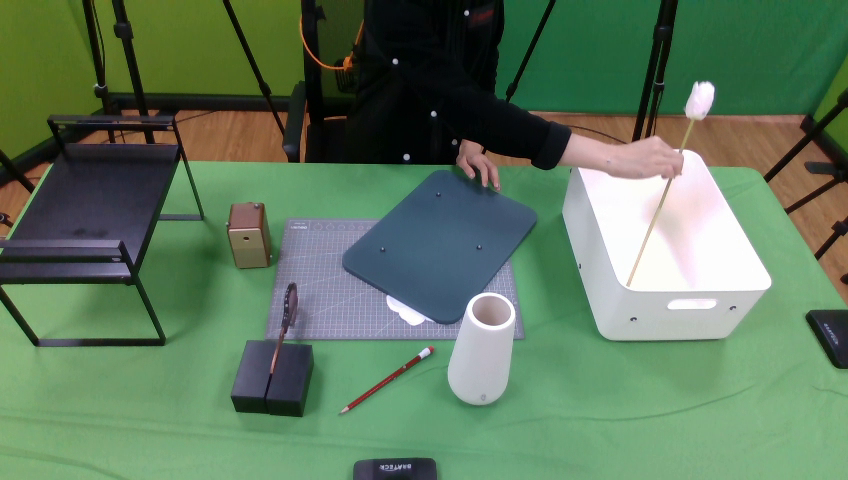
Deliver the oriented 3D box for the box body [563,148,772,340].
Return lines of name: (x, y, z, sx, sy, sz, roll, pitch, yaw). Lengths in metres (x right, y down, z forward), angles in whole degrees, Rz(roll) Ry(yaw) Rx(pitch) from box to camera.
box body: (0.421, 0.003, 1.130, 0.254, 0.161, 0.361, 0, 46, -5)

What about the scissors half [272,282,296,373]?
scissors half: (-0.229, 0.139, 0.986, 0.013, 0.040, 0.174, 4, 51, -3)

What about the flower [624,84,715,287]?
flower: (0.408, -0.088, 1.021, 0.038, 0.044, 0.361, 22, 94, 15)

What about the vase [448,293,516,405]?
vase: (0.091, 0.169, 0.921, 0.098, 0.201, 0.097, 3, 47, -3)

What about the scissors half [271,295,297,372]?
scissors half: (-0.230, 0.154, 1.000, 0.013, 0.040, 0.174, 1, 34, 1)

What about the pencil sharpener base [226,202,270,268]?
pencil sharpener base: (-0.323, -0.010, 1.123, 0.061, 0.107, 0.076, -3, 46, -7)

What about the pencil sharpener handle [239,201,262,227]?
pencil sharpener handle: (-0.325, -0.055, 1.150, 0.036, 0.068, 0.030, -13, 46, 4)

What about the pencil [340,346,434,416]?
pencil: (-0.058, 0.228, 0.984, 0.194, 0.012, 0.012, -32, 56, -28)

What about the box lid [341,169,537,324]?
box lid: (0.038, -0.004, 1.210, 0.262, 0.015, 0.371, 27, 49, 21)
